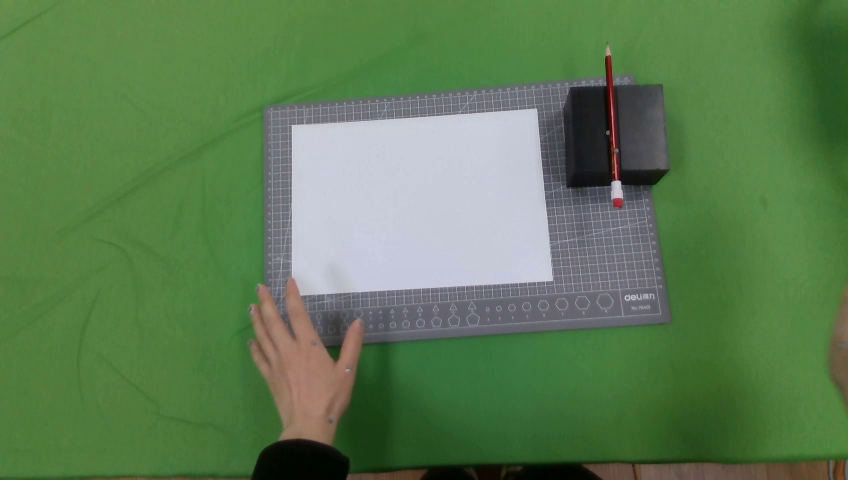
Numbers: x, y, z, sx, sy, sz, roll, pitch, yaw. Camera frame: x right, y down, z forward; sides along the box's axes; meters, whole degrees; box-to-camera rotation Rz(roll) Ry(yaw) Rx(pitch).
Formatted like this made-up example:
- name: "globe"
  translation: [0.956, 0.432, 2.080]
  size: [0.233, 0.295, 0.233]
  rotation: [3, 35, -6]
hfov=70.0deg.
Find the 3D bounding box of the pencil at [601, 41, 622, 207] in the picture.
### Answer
- name: "pencil"
  translation: [0.202, -0.129, 0.657]
  size: [0.012, 0.012, 0.193]
  rotation: [-1, 77, 3]
